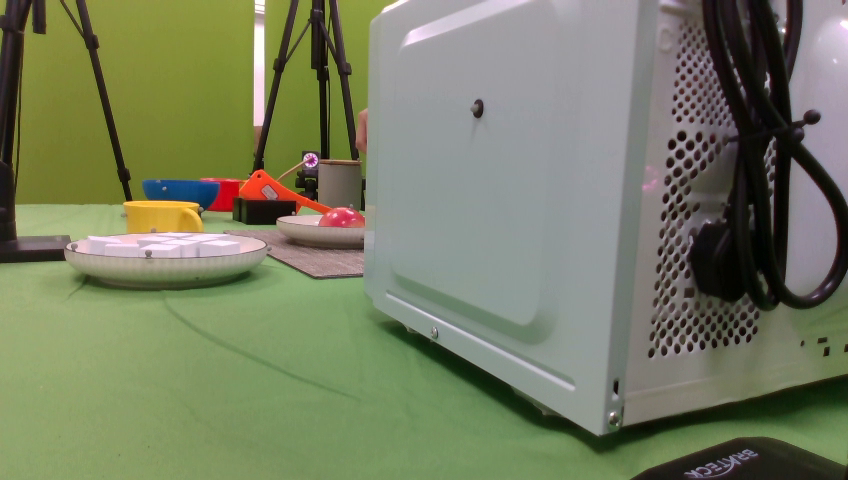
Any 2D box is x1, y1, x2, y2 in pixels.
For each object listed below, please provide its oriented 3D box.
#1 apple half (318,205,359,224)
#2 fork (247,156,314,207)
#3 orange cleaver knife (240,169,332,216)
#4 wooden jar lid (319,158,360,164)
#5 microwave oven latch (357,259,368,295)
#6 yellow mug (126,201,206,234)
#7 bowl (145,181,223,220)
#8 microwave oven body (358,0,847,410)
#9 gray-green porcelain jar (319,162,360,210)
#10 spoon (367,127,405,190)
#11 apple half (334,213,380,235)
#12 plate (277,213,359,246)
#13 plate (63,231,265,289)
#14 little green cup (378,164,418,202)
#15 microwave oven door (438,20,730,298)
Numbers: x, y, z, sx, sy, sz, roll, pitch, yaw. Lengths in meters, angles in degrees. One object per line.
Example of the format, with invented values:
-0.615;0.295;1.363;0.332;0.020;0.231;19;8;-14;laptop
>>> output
-0.126;-0.028;0.954;0.081;0.053;0.074;-2;10;-33;apple half
-0.360;-0.147;1.522;0.207;0.018;0.028;-43;14;-7;fork
-0.286;-0.082;1.298;0.212;0.077;0.012;25;-2;-31;orange cleaver knife
-0.203;-0.189;1.482;0.108;0.020;0.108;2;10;0;wooden jar lid
-0.019;0.031;0.529;0.079;0.029;0.030;-1;7;-26;microwave oven latch
-0.360;-0.019;0.866;0.130;0.064;0.100;6;9;27;yellow mug
-0.499;-0.081;1.261;0.151;0.077;0.151;2;7;0;bowl
0.210;-0.051;0.471;0.444;0.260;0.324;-1;7;-28;microwave oven body
-0.204;-0.126;1.489;0.106;0.126;0.106;2;7;0;gray-green porcelain jar
-0.071;-0.147;1.067;0.042;0.021;0.193;16;37;-34;spoon
-0.112;-0.029;1.034;0.081;0.033;0.081;0;9;0;apple half
-0.135;-0.018;0.993;0.209;0.038;0.209;2;7;0;plate
-0.288;0.021;0.687;0.208;0.039;0.207;2;8;0;plate
-0.042;-0.093;1.011;0.061;0.038;0.061;-37;-6;-4;little green cup
0.181;-0.076;0.618;0.358;0.243;0.039;-2;8;-28;microwave oven door
